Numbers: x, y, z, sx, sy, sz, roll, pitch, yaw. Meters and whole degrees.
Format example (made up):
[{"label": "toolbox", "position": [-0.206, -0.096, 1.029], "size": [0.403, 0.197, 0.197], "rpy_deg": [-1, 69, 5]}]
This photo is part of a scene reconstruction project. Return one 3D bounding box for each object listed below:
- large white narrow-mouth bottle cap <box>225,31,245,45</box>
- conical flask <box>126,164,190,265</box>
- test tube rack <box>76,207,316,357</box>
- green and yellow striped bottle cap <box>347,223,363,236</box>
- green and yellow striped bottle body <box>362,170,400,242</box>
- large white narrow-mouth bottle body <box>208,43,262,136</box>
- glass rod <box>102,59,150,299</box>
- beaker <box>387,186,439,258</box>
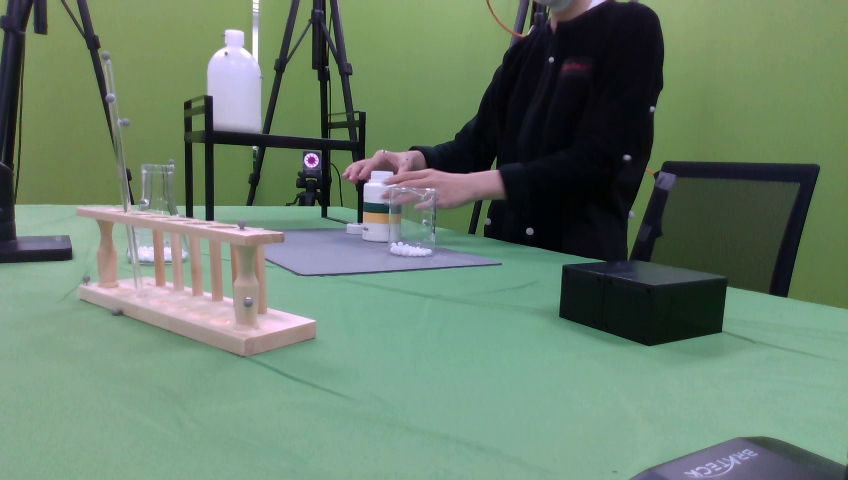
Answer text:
[{"label": "large white narrow-mouth bottle cap", "position": [-0.365, -0.388, 1.166], "size": [0.038, 0.024, 0.037], "rpy_deg": [2, 9, 0]}, {"label": "conical flask", "position": [-0.332, -0.033, 0.756], "size": [0.075, 0.122, 0.075], "rpy_deg": [2, 7, 0]}, {"label": "test tube rack", "position": [-0.196, 0.023, 0.500], "size": [0.241, 0.085, 0.067], "rpy_deg": [7, 9, 36]}, {"label": "green and yellow striped bottle cap", "position": [-0.122, -0.020, 1.133], "size": [0.045, 0.020, 0.045], "rpy_deg": [1, 9, 0]}, {"label": "green and yellow striped bottle body", "position": [-0.073, -0.059, 1.037], "size": [0.063, 0.119, 0.063], "rpy_deg": [2, 7, 0]}, {"label": "large white narrow-mouth bottle body", "position": [-0.369, -0.304, 1.181], "size": [0.102, 0.194, 0.101], "rpy_deg": [2, 9, 0]}, {"label": "glass rod", "position": [-0.243, -0.045, 0.496], "size": [0.008, 0.199, 0.008], "rpy_deg": [-4, 13, 1]}, {"label": "beaker", "position": [-0.015, -0.027, 0.885], "size": [0.074, 0.100, 0.083], "rpy_deg": [-1, 8, -20]}]
